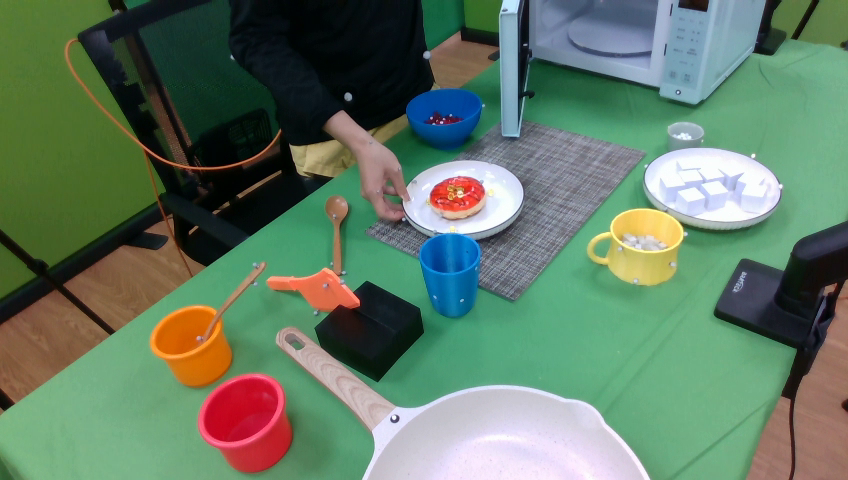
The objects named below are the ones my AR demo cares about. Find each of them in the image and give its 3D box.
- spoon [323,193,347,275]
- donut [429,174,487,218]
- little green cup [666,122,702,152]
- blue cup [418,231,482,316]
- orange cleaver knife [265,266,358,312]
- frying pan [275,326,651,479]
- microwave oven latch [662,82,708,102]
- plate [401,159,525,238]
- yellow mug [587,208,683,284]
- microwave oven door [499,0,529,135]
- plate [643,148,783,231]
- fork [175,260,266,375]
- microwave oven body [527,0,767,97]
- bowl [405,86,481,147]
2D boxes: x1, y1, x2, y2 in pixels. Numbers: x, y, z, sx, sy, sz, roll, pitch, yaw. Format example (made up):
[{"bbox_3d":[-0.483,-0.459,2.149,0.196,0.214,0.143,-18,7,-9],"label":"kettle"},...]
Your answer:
[{"bbox_3d":[-0.148,-0.014,1.007,0.042,0.021,0.192,4,39,-13],"label":"spoon"},{"bbox_3d":[0.057,-0.076,1.015,0.099,0.048,0.098,-5,38,5],"label":"donut"},{"bbox_3d":[0.471,-0.184,1.102,0.061,0.039,0.061,-5,41,5],"label":"little green cup"},{"bbox_3d":[0.039,0.053,0.843,0.092,0.100,0.092,-4,43,4],"label":"blue cup"},{"bbox_3d":[-0.164,0.073,0.864,0.210,0.077,0.012,-6,31,50],"label":"orange cleaver knife"},{"bbox_3d":[0.004,0.229,0.641,0.484,0.103,0.308,34,54,28],"label":"frying pan"},{"bbox_3d":[0.518,-0.298,1.202,0.078,0.029,0.030,28,53,35],"label":"microwave oven latch"},{"bbox_3d":[0.067,-0.066,1.019,0.209,0.038,0.208,-4,40,4],"label":"plate"},{"bbox_3d":[0.305,0.009,0.884,0.131,0.064,0.099,-4,41,5],"label":"yellow mug"},{"bbox_3d":[0.186,-0.410,1.225,0.039,0.245,0.355,2,42,12],"label":"microwave oven door"},{"bbox_3d":[0.464,-0.080,0.986,0.207,0.039,0.206,-4,41,4],"label":"plate"},{"bbox_3d":[-0.268,0.102,0.792,0.207,0.019,0.028,-51,41,17],"label":"fork"},{"bbox_3d":[0.473,-0.516,1.313,0.438,0.261,0.327,26,51,34],"label":"microwave oven body"},{"bbox_3d":[0.041,-0.236,1.197,0.151,0.077,0.150,-4,40,4],"label":"bowl"}]
